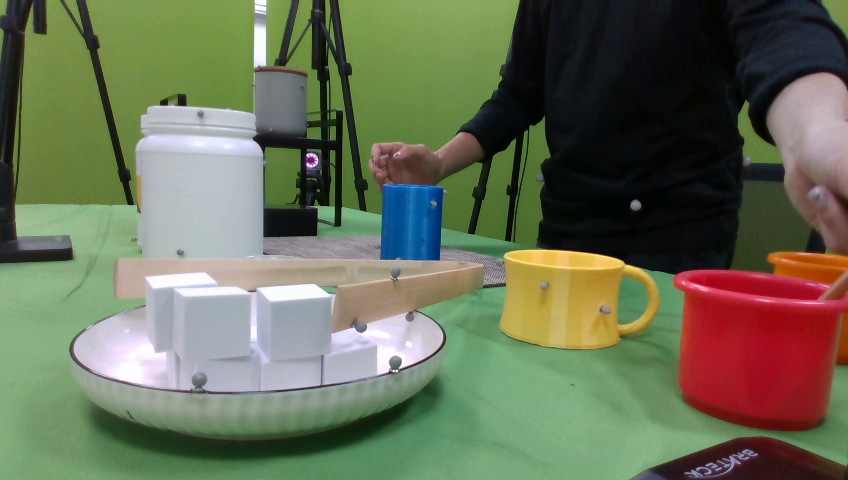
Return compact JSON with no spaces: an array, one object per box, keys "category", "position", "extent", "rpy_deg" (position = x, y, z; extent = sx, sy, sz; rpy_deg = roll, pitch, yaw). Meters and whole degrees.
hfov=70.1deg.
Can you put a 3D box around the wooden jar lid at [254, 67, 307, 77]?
[{"category":"wooden jar lid","position":[-0.296,-0.339,1.250],"extent":[0.108,0.020,0.108],"rpy_deg":[2,7,0]}]

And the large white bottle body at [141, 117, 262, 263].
[{"category":"large white bottle body","position":[-0.254,-0.053,0.697],"extent":[0.131,0.184,0.130],"rpy_deg":[2,7,0]}]

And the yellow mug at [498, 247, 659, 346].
[{"category":"yellow mug","position":[0.130,0.045,0.508],"extent":[0.131,0.064,0.100],"rpy_deg":[4,7,6]}]

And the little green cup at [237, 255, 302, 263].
[{"category":"little green cup","position":[-0.150,0.038,0.590],"extent":[0.061,0.038,0.061],"rpy_deg":[3,7,0]}]

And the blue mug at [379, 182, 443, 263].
[{"category":"blue mug","position":[-0.020,-0.025,0.833],"extent":[0.082,0.106,0.116],"rpy_deg":[1,7,-6]}]

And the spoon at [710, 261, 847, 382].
[{"category":"spoon","position":[0.236,0.019,0.331],"extent":[0.021,0.193,0.042],"rpy_deg":[44,26,16]}]

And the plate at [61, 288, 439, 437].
[{"category":"plate","position":[-0.095,0.069,0.362],"extent":[0.208,0.039,0.207],"rpy_deg":[3,7,0]}]

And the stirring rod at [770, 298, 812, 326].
[{"category":"stirring rod","position":[0.349,0.022,0.468],"extent":[0.014,0.006,0.175],"rpy_deg":[-15,-24,-51]}]

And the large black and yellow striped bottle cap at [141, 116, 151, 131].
[{"category":"large black and yellow striped bottle cap","position":[-0.329,-0.158,0.837],"extent":[0.115,0.019,0.115],"rpy_deg":[2,6,0]}]

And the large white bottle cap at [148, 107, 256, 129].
[{"category":"large white bottle cap","position":[-0.250,-0.137,0.686],"extent":[0.115,0.018,0.115],"rpy_deg":[2,8,0]}]

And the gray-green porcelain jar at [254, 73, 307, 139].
[{"category":"gray-green porcelain jar","position":[-0.298,-0.277,1.259],"extent":[0.106,0.126,0.106],"rpy_deg":[3,8,0]}]

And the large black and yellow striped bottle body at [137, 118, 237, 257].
[{"category":"large black and yellow striped bottle body","position":[-0.330,-0.075,0.849],"extent":[0.131,0.184,0.130],"rpy_deg":[2,8,0]}]

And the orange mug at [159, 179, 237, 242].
[{"category":"orange mug","position":[-0.368,-0.051,0.991],"extent":[0.127,0.101,0.083],"rpy_deg":[-10,14,-41]}]

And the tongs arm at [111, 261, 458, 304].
[{"category":"tongs arm","position":[-0.080,0.032,0.527],"extent":[0.028,0.027,0.389],"rpy_deg":[-3,-3,33]}]

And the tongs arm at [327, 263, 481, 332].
[{"category":"tongs arm","position":[-0.003,0.036,0.493],"extent":[0.050,0.026,0.386],"rpy_deg":[1,0,19]}]

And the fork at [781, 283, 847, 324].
[{"category":"fork","position":[0.324,0.018,0.441],"extent":[0.028,0.018,0.207],"rpy_deg":[0,-36,-3]}]
